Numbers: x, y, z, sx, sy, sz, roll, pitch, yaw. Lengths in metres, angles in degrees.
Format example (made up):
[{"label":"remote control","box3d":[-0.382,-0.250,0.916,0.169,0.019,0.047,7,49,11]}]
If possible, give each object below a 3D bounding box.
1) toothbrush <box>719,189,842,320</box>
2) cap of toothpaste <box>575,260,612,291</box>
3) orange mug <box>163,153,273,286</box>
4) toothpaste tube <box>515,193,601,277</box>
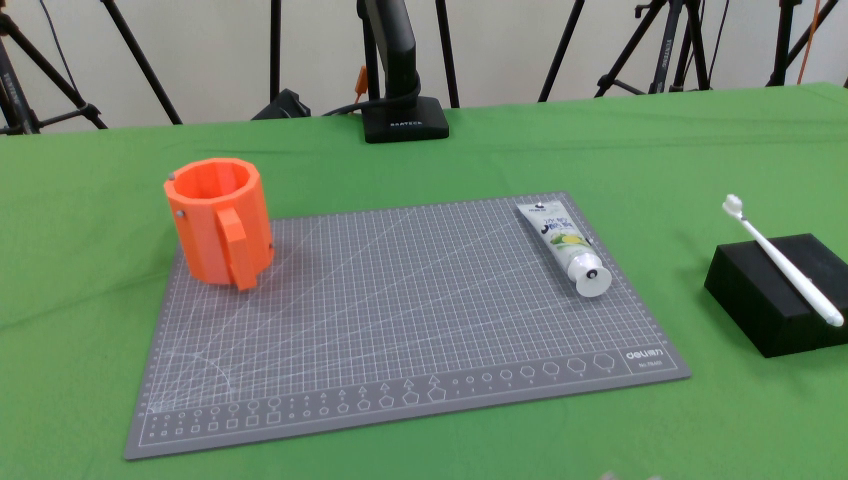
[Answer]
[{"label":"toothbrush","box3d":[0.318,0.006,0.550,0.014,0.017,0.180,0,37,-8]},{"label":"cap of toothpaste","box3d":[0.159,0.032,0.573,0.037,0.037,0.011,-7,34,-9]},{"label":"orange mug","box3d":[-0.193,-0.016,0.588,0.083,0.101,0.125,-18,37,-22]},{"label":"toothpaste tube","box3d":[0.147,-0.009,0.638,0.055,0.035,0.163,-2,33,-12]}]
